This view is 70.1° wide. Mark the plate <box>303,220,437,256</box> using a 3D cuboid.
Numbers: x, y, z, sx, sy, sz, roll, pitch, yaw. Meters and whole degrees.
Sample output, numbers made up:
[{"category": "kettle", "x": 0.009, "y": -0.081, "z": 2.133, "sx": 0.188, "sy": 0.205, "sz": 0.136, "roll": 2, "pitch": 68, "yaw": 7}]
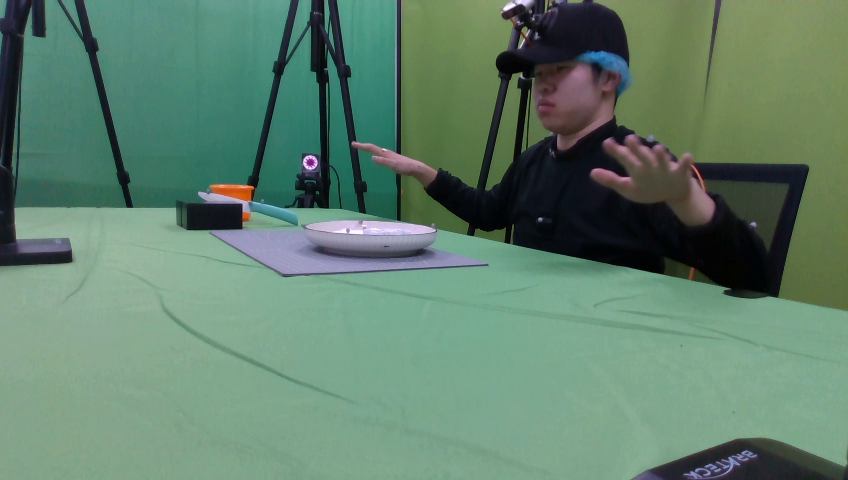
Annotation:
[{"category": "plate", "x": -0.084, "y": -0.003, "z": 0.951, "sx": 0.209, "sy": 0.038, "sz": 0.209, "roll": 3, "pitch": 7, "yaw": 0}]

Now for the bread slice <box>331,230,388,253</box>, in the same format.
[{"category": "bread slice", "x": -0.088, "y": 0.000, "z": 0.947, "sx": 0.105, "sy": 0.019, "sz": 0.131, "roll": -4, "pitch": 11, "yaw": -44}]

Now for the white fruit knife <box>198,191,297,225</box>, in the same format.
[{"category": "white fruit knife", "x": -0.351, "y": -0.068, "z": 1.224, "sx": 0.208, "sy": 0.027, "sz": 0.016, "roll": 15, "pitch": -1, "yaw": -33}]
